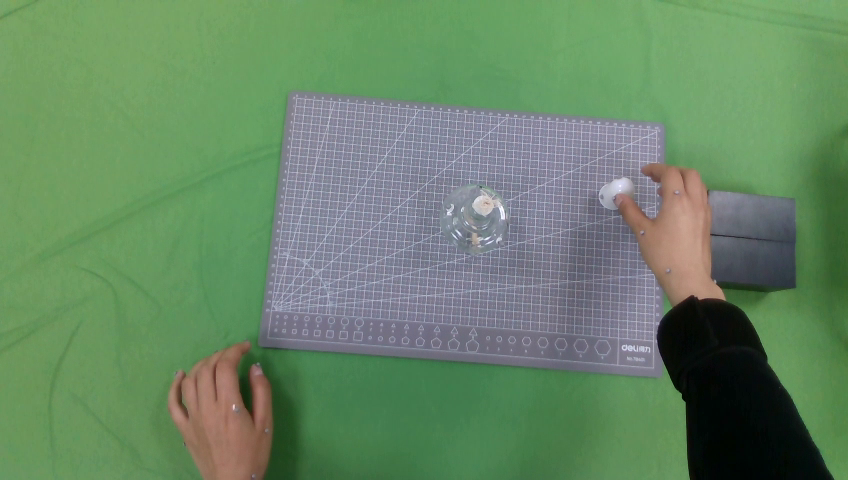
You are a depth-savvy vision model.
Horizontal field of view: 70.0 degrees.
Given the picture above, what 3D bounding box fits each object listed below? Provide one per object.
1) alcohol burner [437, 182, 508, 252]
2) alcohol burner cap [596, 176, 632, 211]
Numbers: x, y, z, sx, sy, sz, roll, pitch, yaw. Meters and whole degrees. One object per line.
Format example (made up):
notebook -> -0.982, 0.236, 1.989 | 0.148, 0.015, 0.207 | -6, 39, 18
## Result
alcohol burner -> 0.054, -0.028, 0.643 | 0.078, 0.119, 0.077 | 1, 81, -4
alcohol burner cap -> 0.219, -0.055, 0.692 | 0.034, 0.048, 0.033 | 0, 78, 0
